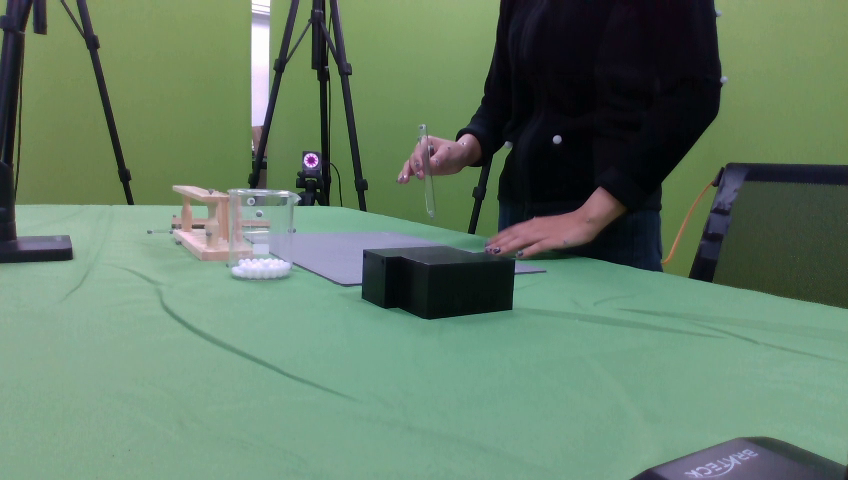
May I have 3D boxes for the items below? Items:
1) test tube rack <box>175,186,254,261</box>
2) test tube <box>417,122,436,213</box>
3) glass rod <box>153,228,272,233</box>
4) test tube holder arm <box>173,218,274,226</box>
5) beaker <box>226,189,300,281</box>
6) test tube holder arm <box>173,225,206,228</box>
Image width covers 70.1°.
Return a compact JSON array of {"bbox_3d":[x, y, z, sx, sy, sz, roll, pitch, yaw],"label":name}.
[{"bbox_3d":[-0.314,-0.031,0.889,0.067,0.085,0.241,-2,8,-30],"label":"test tube rack"},{"bbox_3d":[0.005,-0.120,1.000,0.017,0.150,0.017,-7,3,1],"label":"test tube"},{"bbox_3d":[-0.368,-0.017,1.065,0.201,0.008,0.008,-2,8,-27],"label":"glass rod"},{"bbox_3d":[-0.371,-0.033,1.128,0.179,0.015,0.013,-1,-21,-25],"label":"test tube holder arm"},{"bbox_3d":[-0.184,-0.007,0.694,0.084,0.100,0.073,-1,8,-29],"label":"beaker"},{"bbox_3d":[-0.414,-0.030,1.113,0.088,0.015,0.010,-1,-21,-25],"label":"test tube holder arm"}]
